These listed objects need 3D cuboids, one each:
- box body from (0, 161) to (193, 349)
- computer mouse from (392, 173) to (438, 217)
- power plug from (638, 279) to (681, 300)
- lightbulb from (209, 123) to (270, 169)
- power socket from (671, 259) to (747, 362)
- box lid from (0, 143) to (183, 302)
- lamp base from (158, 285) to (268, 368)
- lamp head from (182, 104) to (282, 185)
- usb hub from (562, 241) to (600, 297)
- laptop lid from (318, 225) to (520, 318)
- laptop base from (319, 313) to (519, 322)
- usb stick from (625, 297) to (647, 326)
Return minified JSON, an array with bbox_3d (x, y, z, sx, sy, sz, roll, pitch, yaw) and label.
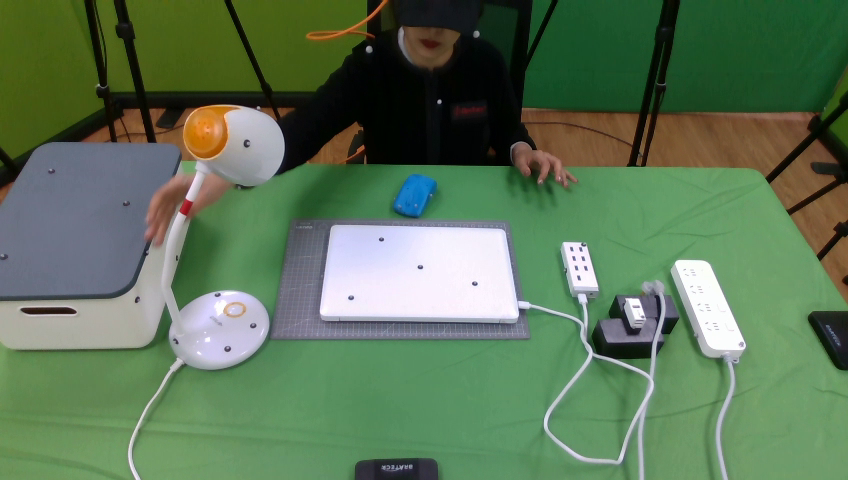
[{"bbox_3d":[-0.570,0.006,1.054,0.254,0.161,0.361,-1,46,-4],"label":"box body"},{"bbox_3d":[-0.018,-0.098,1.282,0.062,0.041,0.117,20,52,13],"label":"computer mouse"},{"bbox_3d":[0.434,0.099,1.119,0.073,0.053,0.035,33,38,-16],"label":"power plug"},{"bbox_3d":[-0.260,-0.136,0.847,0.059,0.108,0.059,-4,78,20],"label":"lightbulb"},{"bbox_3d":[0.517,0.119,1.108,0.072,0.033,0.225,1,46,-2],"label":"power socket"},{"bbox_3d":[-0.567,-0.045,0.999,0.263,0.015,0.369,-1,46,-4],"label":"box lid"},{"bbox_3d":[-0.348,0.102,0.963,0.160,0.181,0.178,23,51,18],"label":"lamp base"},{"bbox_3d":[-0.271,-0.133,0.825,0.112,0.112,0.123,20,8,15],"label":"lamp head"},{"bbox_3d":[0.300,0.055,1.161,0.049,0.025,0.124,2,46,-3],"label":"usb hub"},{"bbox_3d":[-0.009,0.052,1.131,0.357,0.013,0.240,2,43,-2],"label":"laptop lid"},{"bbox_3d":[-0.009,0.063,1.137,0.354,0.023,0.234,1,42,-3],"label":"laptop base"},{"bbox_3d":[0.360,0.117,1.034,0.021,0.027,0.059,-2,44,-2],"label":"usb stick"}]
